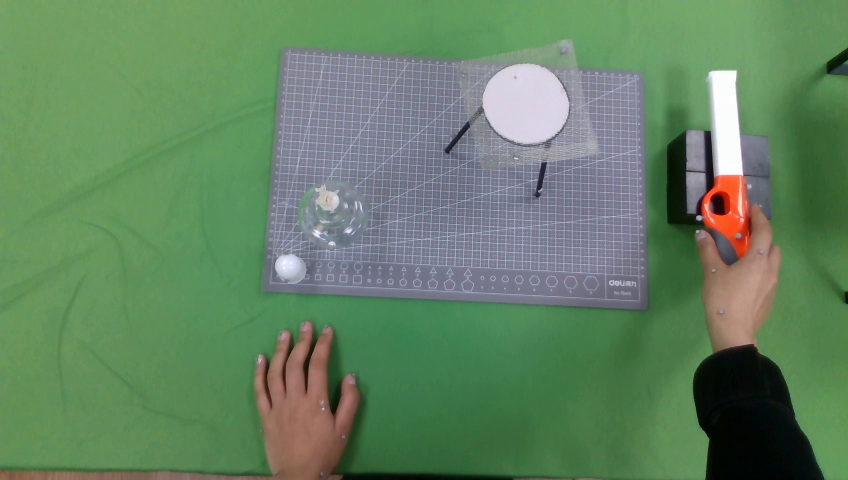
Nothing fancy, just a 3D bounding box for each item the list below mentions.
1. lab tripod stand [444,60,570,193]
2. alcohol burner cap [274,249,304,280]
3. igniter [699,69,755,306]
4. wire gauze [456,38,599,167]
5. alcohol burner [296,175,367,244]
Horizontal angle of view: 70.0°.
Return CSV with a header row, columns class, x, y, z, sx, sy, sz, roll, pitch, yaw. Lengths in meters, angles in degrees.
class,x,y,z,sx,sy,sz,roll,pitch,yaw
lab tripod stand,0.100,-0.132,0.671,0.148,0.132,0.147,1,78,-2
alcohol burner cap,-0.152,0.026,0.674,0.034,0.048,0.033,1,80,-4
igniter,0.341,-0.062,0.686,0.057,0.025,0.275,1,79,8
wire gauze,0.103,-0.137,0.604,0.125,0.011,0.121,-10,81,-5
alcohol burner,-0.100,-0.036,0.652,0.078,0.119,0.077,1,82,-5
